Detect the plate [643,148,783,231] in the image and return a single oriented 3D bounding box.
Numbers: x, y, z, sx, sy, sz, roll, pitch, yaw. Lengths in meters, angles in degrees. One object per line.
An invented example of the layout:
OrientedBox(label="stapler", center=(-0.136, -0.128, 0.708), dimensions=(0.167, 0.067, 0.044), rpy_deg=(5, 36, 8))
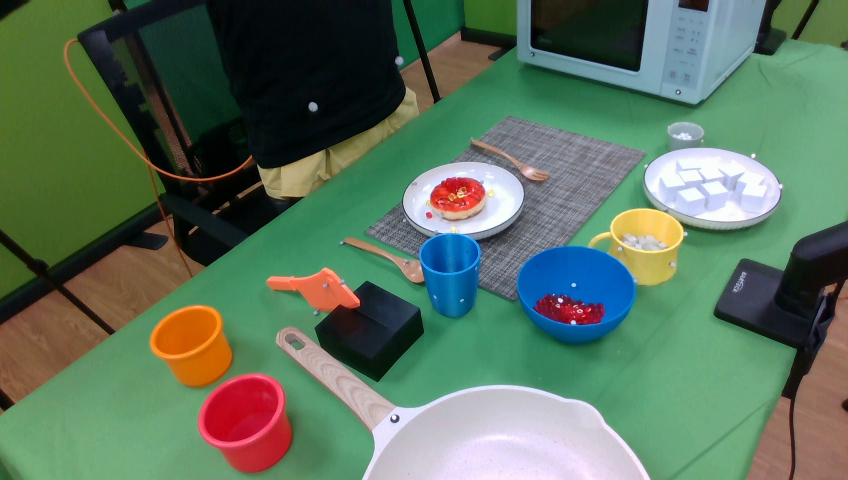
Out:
OrientedBox(label="plate", center=(0.464, -0.080, 0.986), dimensions=(0.207, 0.039, 0.206), rpy_deg=(-4, 40, 4))

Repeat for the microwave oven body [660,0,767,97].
OrientedBox(label="microwave oven body", center=(0.473, -0.516, 1.314), dimensions=(0.438, 0.261, 0.327), rpy_deg=(26, 51, 34))

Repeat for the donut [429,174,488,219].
OrientedBox(label="donut", center=(0.058, -0.075, 1.015), dimensions=(0.099, 0.048, 0.098), rpy_deg=(-6, 38, 5))

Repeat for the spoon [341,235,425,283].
OrientedBox(label="spoon", center=(-0.061, 0.022, 0.953), dimensions=(0.192, 0.022, 0.041), rpy_deg=(24, 72, 30))

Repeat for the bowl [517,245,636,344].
OrientedBox(label="bowl", center=(0.200, 0.084, 0.803), dimensions=(0.151, 0.077, 0.150), rpy_deg=(-4, 40, 4))

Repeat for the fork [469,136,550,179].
OrientedBox(label="fork", center=(0.153, -0.156, 1.126), dimensions=(0.028, 0.019, 0.205), rpy_deg=(-40, 51, -16))

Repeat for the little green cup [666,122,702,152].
OrientedBox(label="little green cup", center=(0.471, -0.184, 1.102), dimensions=(0.061, 0.039, 0.061), rpy_deg=(-5, 41, 5))

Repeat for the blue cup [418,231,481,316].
OrientedBox(label="blue cup", center=(0.040, 0.053, 0.843), dimensions=(0.092, 0.100, 0.092), rpy_deg=(-4, 43, 4))

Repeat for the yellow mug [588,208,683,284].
OrientedBox(label="yellow mug", center=(0.305, 0.009, 0.884), dimensions=(0.131, 0.064, 0.099), rpy_deg=(-4, 40, 5))

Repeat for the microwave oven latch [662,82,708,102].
OrientedBox(label="microwave oven latch", center=(0.518, -0.298, 1.203), dimensions=(0.078, 0.029, 0.030), rpy_deg=(28, 53, 35))

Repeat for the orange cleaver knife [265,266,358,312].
OrientedBox(label="orange cleaver knife", center=(-0.164, 0.073, 0.864), dimensions=(0.210, 0.077, 0.012), rpy_deg=(-6, 31, 50))

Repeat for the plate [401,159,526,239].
OrientedBox(label="plate", center=(0.067, -0.065, 1.019), dimensions=(0.209, 0.038, 0.208), rpy_deg=(-4, 40, 4))

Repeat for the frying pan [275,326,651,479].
OrientedBox(label="frying pan", center=(0.003, 0.229, 0.641), dimensions=(0.484, 0.103, 0.308), rpy_deg=(34, 54, 28))

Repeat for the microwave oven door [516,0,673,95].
OrientedBox(label="microwave oven door", center=(0.344, -0.458, 1.256), dimensions=(0.353, 0.245, 0.039), rpy_deg=(26, 51, 33))
